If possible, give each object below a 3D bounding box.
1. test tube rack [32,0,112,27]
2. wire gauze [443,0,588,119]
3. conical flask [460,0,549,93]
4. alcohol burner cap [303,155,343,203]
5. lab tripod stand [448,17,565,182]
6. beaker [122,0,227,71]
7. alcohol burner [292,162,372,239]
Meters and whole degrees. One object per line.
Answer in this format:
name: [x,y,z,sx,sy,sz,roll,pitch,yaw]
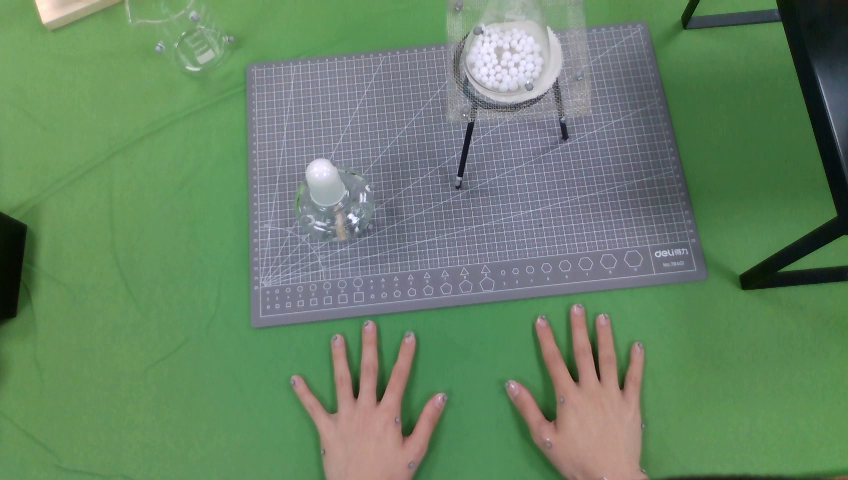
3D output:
test tube rack: [-0.349,-0.340,0.688,0.242,0.085,0.066,-25,74,-5]
wire gauze: [0.077,-0.161,0.521,0.121,0.011,0.124,0,71,0]
conical flask: [0.066,-0.174,0.463,0.075,0.122,0.075,0,73,2]
alcohol burner cap: [-0.092,-0.057,0.538,0.034,0.048,0.033,0,67,0]
lab tripod stand: [0.073,-0.136,0.583,0.148,0.132,0.147,0,72,1]
beaker: [-0.262,-0.233,0.645,0.073,0.101,0.084,40,79,14]
alcohol burner: [-0.090,-0.044,0.572,0.078,0.120,0.077,0,72,1]
